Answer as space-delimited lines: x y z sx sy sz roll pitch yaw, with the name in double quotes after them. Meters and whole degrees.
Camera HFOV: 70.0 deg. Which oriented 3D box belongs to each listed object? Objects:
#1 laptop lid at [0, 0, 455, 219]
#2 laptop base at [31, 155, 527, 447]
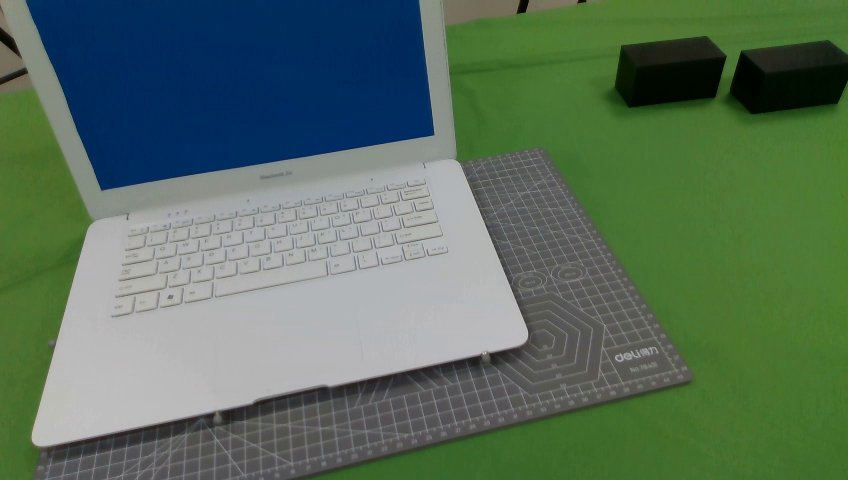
-0.154 -0.149 0.533 0.357 0.243 0.013 -12 30 -6 "laptop lid"
-0.116 0.032 0.507 0.355 0.023 0.233 -11 47 -6 "laptop base"
